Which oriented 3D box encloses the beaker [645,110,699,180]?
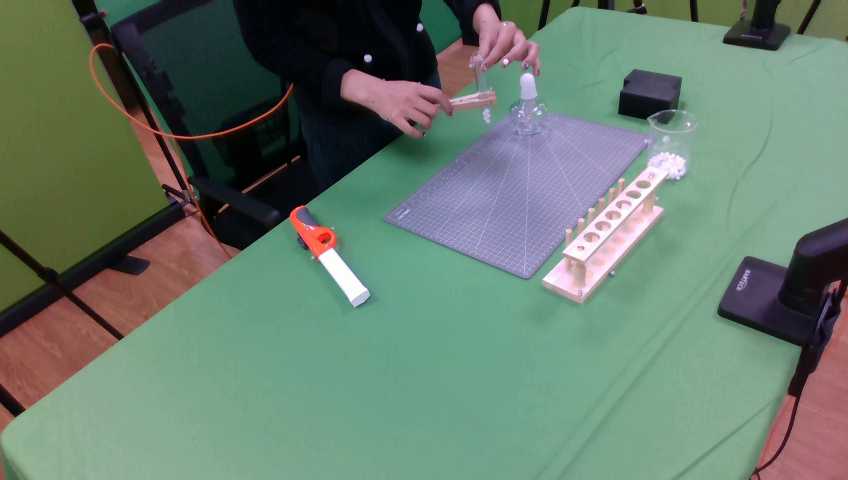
[{"bbox_3d":[0.417,-0.160,1.032,0.083,0.101,0.074,25,51,34],"label":"beaker"}]

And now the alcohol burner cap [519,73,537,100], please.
[{"bbox_3d":[0.198,-0.298,1.163,0.034,0.048,0.033,-9,37,7],"label":"alcohol burner cap"}]

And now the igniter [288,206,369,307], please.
[{"bbox_3d":[-0.163,0.018,0.986,0.057,0.025,0.274,-33,45,-12],"label":"igniter"}]

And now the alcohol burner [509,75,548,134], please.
[{"bbox_3d":[0.204,-0.270,1.186,0.078,0.119,0.077,-5,42,5],"label":"alcohol burner"}]

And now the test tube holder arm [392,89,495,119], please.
[{"bbox_3d":[0.034,-0.232,1.036,0.178,0.015,0.013,-10,47,5],"label":"test tube holder arm"}]

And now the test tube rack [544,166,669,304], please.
[{"bbox_3d":[0.274,-0.018,0.903,0.066,0.085,0.243,26,51,35],"label":"test tube rack"}]

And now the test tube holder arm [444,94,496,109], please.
[{"bbox_3d":[0.078,-0.234,1.027,0.087,0.015,0.010,-4,49,10],"label":"test tube holder arm"}]

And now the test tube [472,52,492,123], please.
[{"bbox_3d":[0.098,-0.251,1.011,0.017,0.151,0.017,-6,55,10],"label":"test tube"}]
